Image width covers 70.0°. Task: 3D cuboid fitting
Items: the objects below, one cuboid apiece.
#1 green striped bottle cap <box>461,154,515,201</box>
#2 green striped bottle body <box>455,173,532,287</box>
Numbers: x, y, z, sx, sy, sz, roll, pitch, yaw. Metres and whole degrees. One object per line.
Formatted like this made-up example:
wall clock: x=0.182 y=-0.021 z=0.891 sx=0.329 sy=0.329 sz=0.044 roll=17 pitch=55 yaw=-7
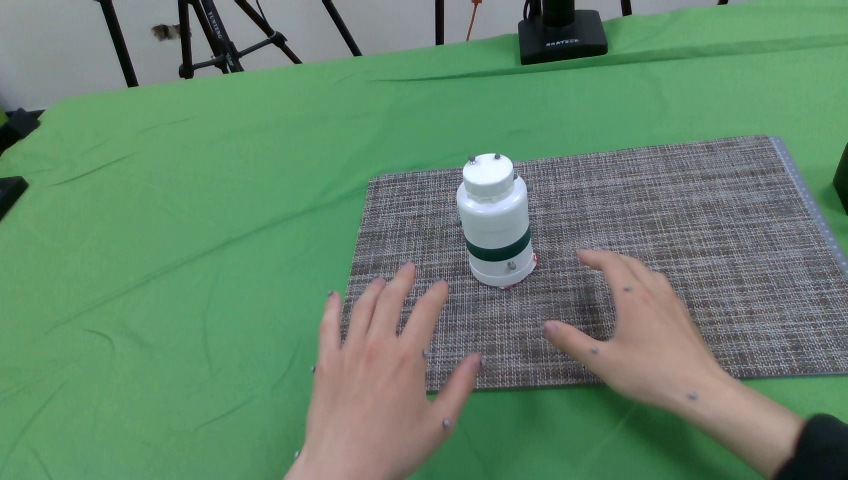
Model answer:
green striped bottle cap: x=0.055 y=-0.054 z=0.518 sx=0.044 sy=0.020 sz=0.044 roll=-9 pitch=44 yaw=9
green striped bottle body: x=0.064 y=-0.018 z=0.554 sx=0.063 sy=0.120 sz=0.062 roll=-7 pitch=44 yaw=8
